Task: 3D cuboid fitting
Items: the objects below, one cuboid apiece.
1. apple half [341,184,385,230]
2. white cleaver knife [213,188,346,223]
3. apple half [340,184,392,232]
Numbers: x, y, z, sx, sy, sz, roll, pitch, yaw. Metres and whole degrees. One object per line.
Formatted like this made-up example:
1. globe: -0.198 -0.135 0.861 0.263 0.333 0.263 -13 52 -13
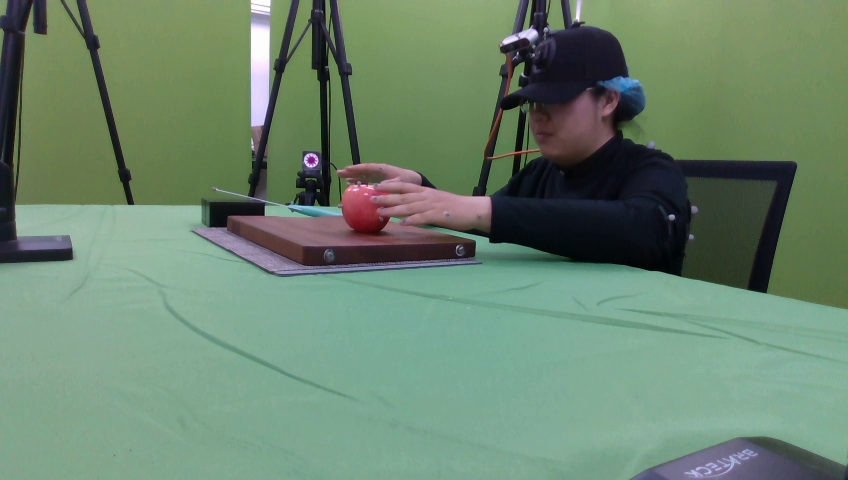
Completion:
1. apple half: -0.103 -0.055 0.969 0.082 0.081 0.032 -2 13 -32
2. white cleaver knife: -0.280 -0.067 1.227 0.288 0.021 0.065 11 6 -29
3. apple half: -0.084 -0.048 0.936 0.081 0.074 0.053 1 12 -32
